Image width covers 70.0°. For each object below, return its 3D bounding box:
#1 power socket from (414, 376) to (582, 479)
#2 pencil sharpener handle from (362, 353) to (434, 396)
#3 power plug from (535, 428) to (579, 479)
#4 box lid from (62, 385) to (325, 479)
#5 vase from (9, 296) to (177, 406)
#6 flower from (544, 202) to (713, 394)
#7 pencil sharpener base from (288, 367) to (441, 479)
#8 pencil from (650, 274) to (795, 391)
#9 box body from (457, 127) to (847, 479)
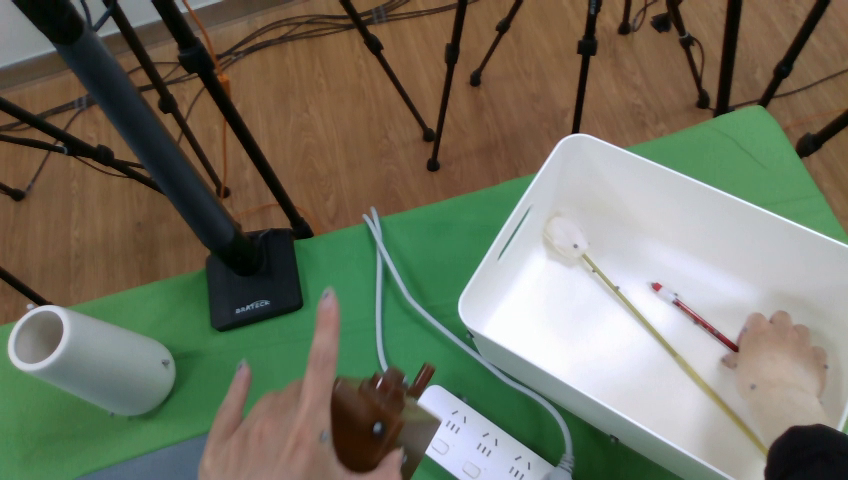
[{"bbox_3d":[0.074,0.236,0.676,0.225,0.033,0.072,32,74,20],"label":"power socket"},{"bbox_3d":[-0.016,0.095,0.451,0.035,0.068,0.030,28,85,30],"label":"pencil sharpener handle"},{"bbox_3d":[0.148,0.239,0.637,0.072,0.053,0.035,-41,63,-14],"label":"power plug"},{"bbox_3d":[-0.238,0.339,0.689,0.371,0.015,0.261,-19,65,0],"label":"box lid"},{"bbox_3d":[-0.372,0.129,0.699,0.098,0.201,0.097,-3,64,7],"label":"vase"},{"bbox_3d":[0.267,0.097,0.713,0.044,0.038,0.359,-41,71,12],"label":"flower"},{"bbox_3d":[-0.039,0.141,0.460,0.061,0.108,0.076,29,86,23],"label":"pencil sharpener base"},{"bbox_3d":[0.342,0.104,0.699,0.012,0.012,0.192,-43,69,-11],"label":"pencil"},{"bbox_3d":[0.251,0.079,0.646,0.362,0.162,0.253,28,73,19],"label":"box body"}]
